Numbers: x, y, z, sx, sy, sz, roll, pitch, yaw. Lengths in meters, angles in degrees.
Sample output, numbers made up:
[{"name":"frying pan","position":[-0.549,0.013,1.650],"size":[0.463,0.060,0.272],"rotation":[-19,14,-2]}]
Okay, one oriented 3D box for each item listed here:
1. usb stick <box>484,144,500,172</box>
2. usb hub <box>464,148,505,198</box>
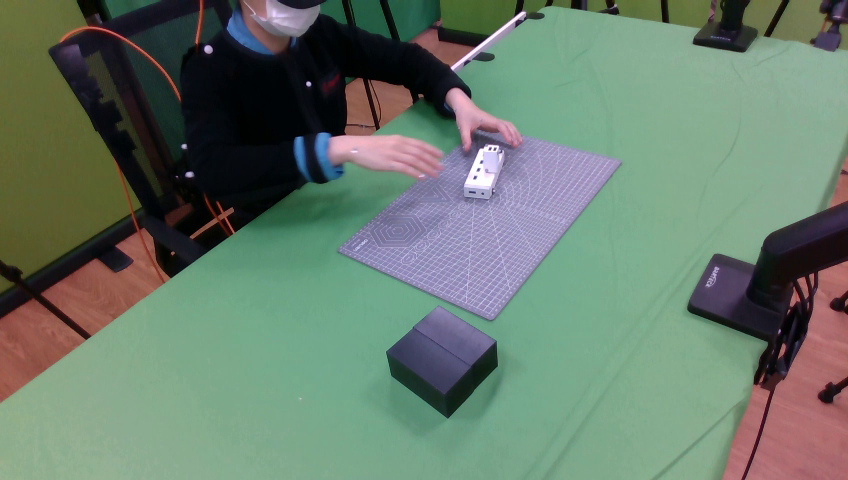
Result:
[{"name":"usb stick","position":[0.119,-0.137,1.058],"size":[0.027,0.059,0.021],"rotation":[9,45,13]},{"name":"usb hub","position":[0.110,-0.121,1.087],"size":[0.049,0.025,0.125],"rotation":[8,43,16]}]
